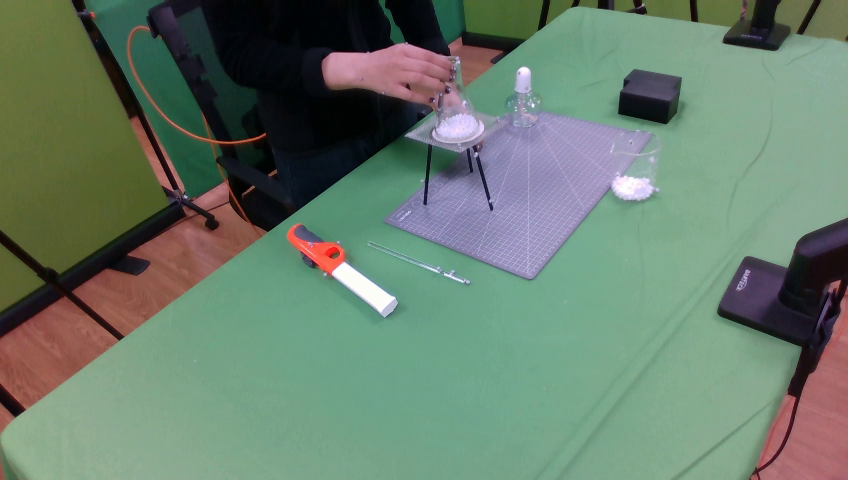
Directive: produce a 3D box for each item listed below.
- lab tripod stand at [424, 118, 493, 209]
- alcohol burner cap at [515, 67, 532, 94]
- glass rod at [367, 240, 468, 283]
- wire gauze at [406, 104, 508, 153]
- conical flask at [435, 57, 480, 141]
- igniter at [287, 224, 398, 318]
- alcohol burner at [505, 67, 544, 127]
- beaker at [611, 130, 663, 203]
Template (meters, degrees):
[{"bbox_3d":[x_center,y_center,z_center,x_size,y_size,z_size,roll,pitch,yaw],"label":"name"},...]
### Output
[{"bbox_3d":[0.061,-0.133,1.038,0.148,0.132,0.147,-6,38,6],"label":"lab tripod stand"},{"bbox_3d":[0.197,-0.315,1.187,0.034,0.048,0.033,-3,46,3],"label":"alcohol burner cap"},{"bbox_3d":[-0.015,0.032,0.959,0.198,0.008,0.008,21,49,30],"label":"glass rod"},{"bbox_3d":[0.054,-0.183,0.997,0.120,0.011,0.125,25,53,38],"label":"wire gauze"},{"bbox_3d":[0.046,-0.225,0.955,0.075,0.122,0.075,-7,39,6],"label":"conical flask"},{"bbox_3d":[-0.139,0.042,0.958,0.057,0.025,0.274,-42,49,-19],"label":"igniter"},{"bbox_3d":[0.201,-0.288,1.211,0.078,0.119,0.077,-6,38,5],"label":"alcohol burner"},{"bbox_3d":[0.346,-0.118,0.998,0.084,0.101,0.073,-17,40,-7],"label":"beaker"}]
